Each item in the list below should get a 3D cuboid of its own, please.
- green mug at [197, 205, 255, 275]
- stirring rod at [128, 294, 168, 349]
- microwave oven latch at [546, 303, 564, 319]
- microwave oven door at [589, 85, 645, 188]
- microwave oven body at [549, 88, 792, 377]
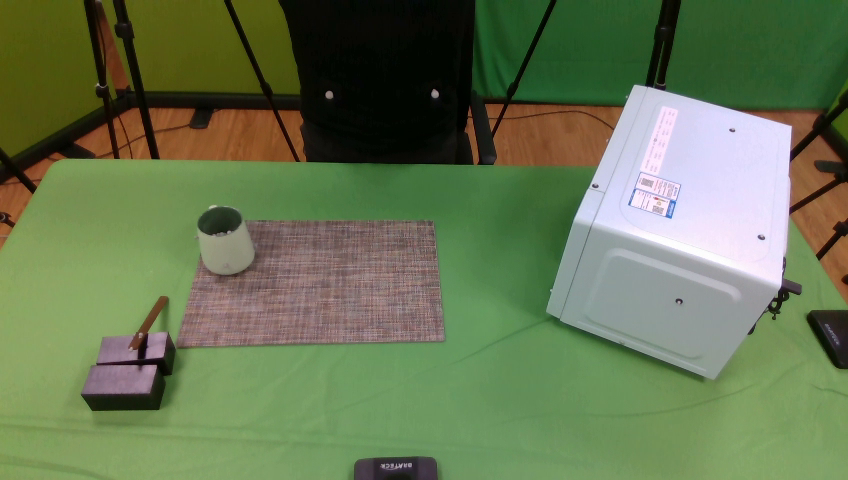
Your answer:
[{"bbox_3d":[-0.370,-0.008,1.114,0.092,0.105,0.124,-19,50,-20],"label":"green mug"},{"bbox_3d":[-0.451,0.131,0.996,0.014,0.006,0.175,9,21,-10],"label":"stirring rod"},{"bbox_3d":[0.242,0.102,1.081,0.030,0.029,0.079,22,48,17],"label":"microwave oven latch"},{"bbox_3d":[0.342,-0.107,1.149,0.039,0.245,0.354,20,48,15],"label":"microwave oven door"},{"bbox_3d":[0.456,-0.028,1.088,0.325,0.261,0.440,20,47,16],"label":"microwave oven body"}]
